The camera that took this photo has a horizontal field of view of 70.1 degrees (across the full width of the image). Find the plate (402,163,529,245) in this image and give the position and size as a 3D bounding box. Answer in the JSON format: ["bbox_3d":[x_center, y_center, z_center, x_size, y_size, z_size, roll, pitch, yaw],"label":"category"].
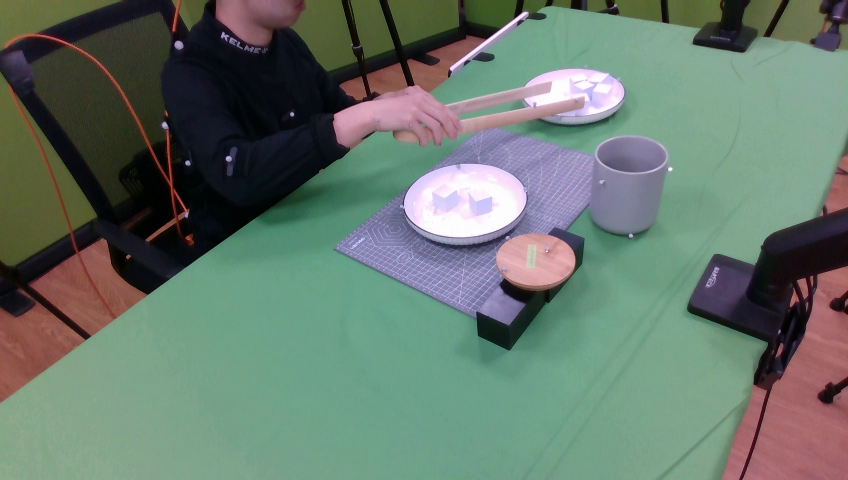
[{"bbox_3d":[0.069,-0.056,1.008,0.209,0.038,0.208,-4,40,4],"label":"plate"}]

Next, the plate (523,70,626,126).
[{"bbox_3d":[0.308,-0.289,1.250,0.207,0.039,0.206,-4,40,4],"label":"plate"}]

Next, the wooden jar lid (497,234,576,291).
[{"bbox_3d":[0.154,0.032,0.834,0.108,0.021,0.108,-5,40,5],"label":"wooden jar lid"}]

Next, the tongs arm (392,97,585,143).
[{"bbox_3d":[0.127,-0.225,1.101,0.387,0.026,0.050,-16,39,-23],"label":"tongs arm"}]

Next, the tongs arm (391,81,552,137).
[{"bbox_3d":[0.099,-0.253,1.143,0.390,0.028,0.028,-20,44,-28],"label":"tongs arm"}]

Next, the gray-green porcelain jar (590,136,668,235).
[{"bbox_3d":[0.314,-0.080,0.937,0.106,0.127,0.105,-4,41,4],"label":"gray-green porcelain jar"}]
